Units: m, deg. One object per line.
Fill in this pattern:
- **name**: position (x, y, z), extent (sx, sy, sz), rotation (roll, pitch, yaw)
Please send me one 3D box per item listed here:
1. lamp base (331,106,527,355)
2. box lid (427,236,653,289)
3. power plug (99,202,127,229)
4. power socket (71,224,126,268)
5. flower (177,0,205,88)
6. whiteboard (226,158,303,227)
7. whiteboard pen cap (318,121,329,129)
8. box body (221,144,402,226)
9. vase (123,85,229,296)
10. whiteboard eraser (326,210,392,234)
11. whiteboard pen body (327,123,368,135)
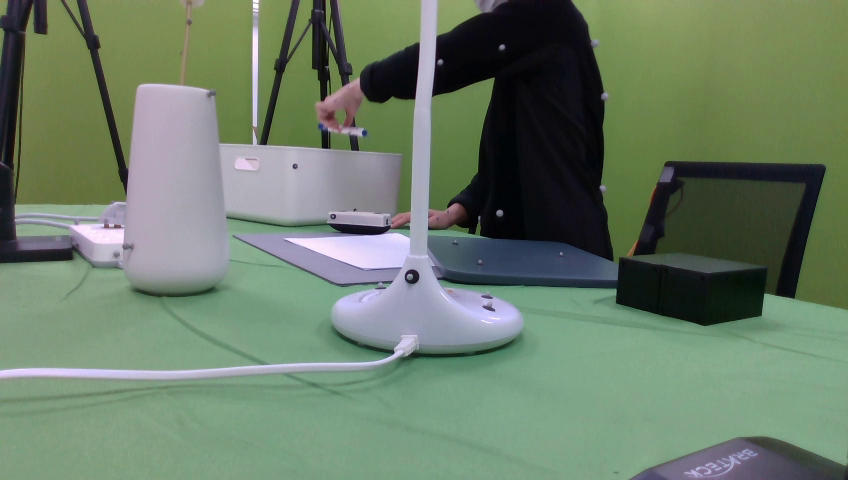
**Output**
- **lamp base**: position (0.006, -0.012, 0.478), extent (0.161, 0.180, 0.179), rotation (2, 10, 2)
- **box lid**: position (0.139, 0.028, 0.886), extent (0.264, 0.015, 0.371), rotation (2, 7, -6)
- **power plug**: position (-0.415, -0.026, 0.848), extent (0.073, 0.052, 0.035), rotation (6, 5, -28)
- **power socket**: position (-0.409, 0.004, 0.793), extent (0.072, 0.032, 0.225), rotation (-2, 8, -37)
- **flower**: position (-0.243, -0.131, 0.609), extent (0.044, 0.361, 0.038), rotation (-5, -12, 11)
- **whiteboard**: position (-0.265, -0.117, 1.373), extent (0.216, 0.143, 0.307), rotation (4, 8, 36)
- **whiteboard pen cap**: position (-0.231, -0.267, 1.410), extent (0.033, 0.018, 0.018), rotation (17, 15, 33)
- **box body**: position (-0.254, -0.128, 1.379), extent (0.253, 0.160, 0.366), rotation (8, 9, 36)
- **vase**: position (-0.244, -0.047, 0.598), extent (0.098, 0.200, 0.098), rotation (3, 8, 0)
- **whiteboard eraser**: position (-0.121, -0.033, 1.131), extent (0.112, 0.042, 0.056), rotation (4, 9, 13)
- **whiteboard pen body**: position (-0.183, -0.255, 1.377), extent (0.140, 0.017, 0.017), rotation (16, 14, 34)
